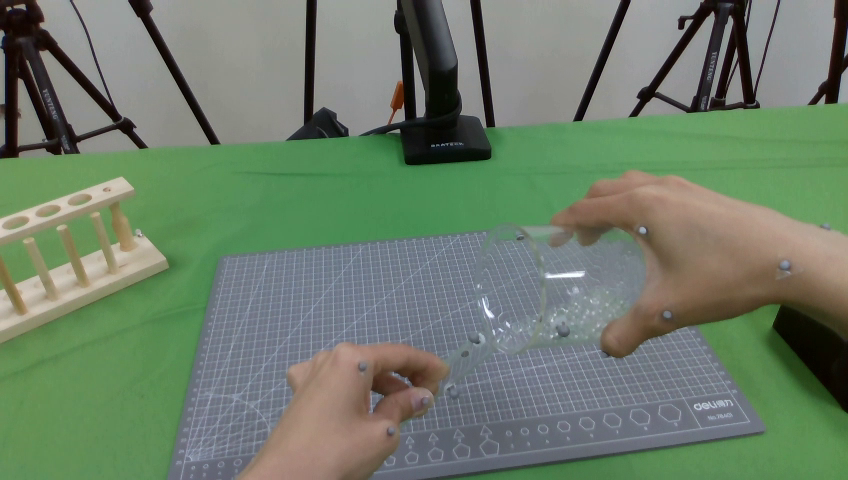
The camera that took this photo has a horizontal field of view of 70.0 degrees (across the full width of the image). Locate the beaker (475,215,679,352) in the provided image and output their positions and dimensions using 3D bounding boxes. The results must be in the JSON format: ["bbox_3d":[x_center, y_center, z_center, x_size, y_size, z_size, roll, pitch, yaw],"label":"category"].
[{"bbox_3d":[0.090,0.027,0.358,0.101,0.084,0.073,-1,38,-23],"label":"beaker"}]

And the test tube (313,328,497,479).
[{"bbox_3d":[-0.015,0.106,0.377,0.150,0.017,0.017,-42,37,13],"label":"test tube"}]

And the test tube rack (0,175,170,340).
[{"bbox_3d":[-0.382,0.028,0.573,0.242,0.086,0.066,-28,44,-32],"label":"test tube rack"}]

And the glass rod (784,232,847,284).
[{"bbox_3d":[0.374,0.048,0.503,0.008,0.008,0.197,-11,37,-13],"label":"glass rod"}]
